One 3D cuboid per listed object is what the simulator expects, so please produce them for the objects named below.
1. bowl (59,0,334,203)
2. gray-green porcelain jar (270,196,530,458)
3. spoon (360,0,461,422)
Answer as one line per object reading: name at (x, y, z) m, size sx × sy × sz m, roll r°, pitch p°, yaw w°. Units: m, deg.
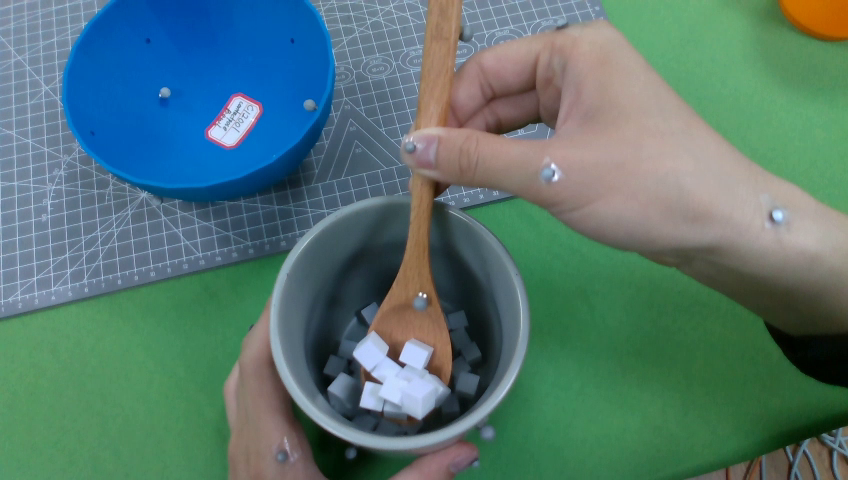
bowl at (-0.125, -0.081, 0.371) m, size 0.151 × 0.077 × 0.150 m, roll 0°, pitch 69°, yaw 0°
gray-green porcelain jar at (-0.009, 0.052, 0.300) m, size 0.106 × 0.127 × 0.105 m, roll 0°, pitch 69°, yaw 0°
spoon at (0.000, -0.014, 0.246) m, size 0.041 × 0.021 × 0.194 m, roll 10°, pitch 109°, yaw 11°
